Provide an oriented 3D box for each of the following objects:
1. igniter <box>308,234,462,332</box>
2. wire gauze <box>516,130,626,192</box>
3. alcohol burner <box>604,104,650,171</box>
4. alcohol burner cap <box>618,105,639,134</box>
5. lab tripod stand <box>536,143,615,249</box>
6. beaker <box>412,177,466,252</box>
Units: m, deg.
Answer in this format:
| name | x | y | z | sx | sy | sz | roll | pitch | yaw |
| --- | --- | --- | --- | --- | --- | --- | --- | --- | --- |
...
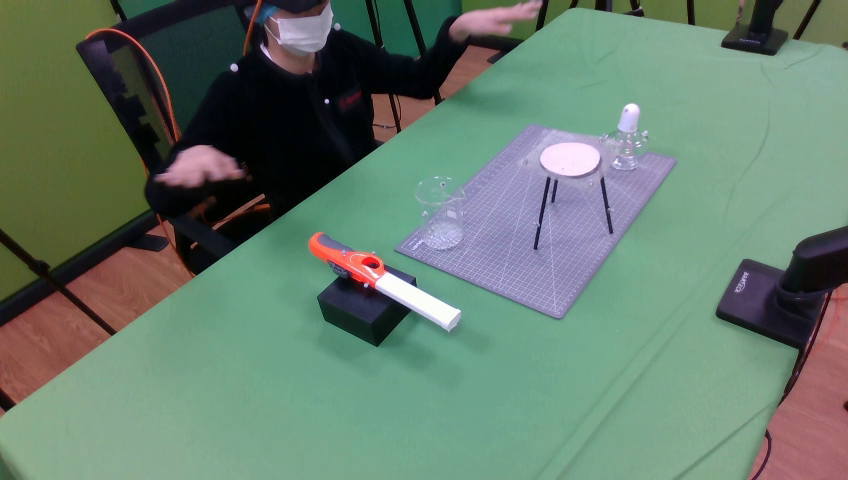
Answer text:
| name | x | y | z | sx | sy | sz | roll | pitch | yaw |
| --- | --- | --- | --- | --- | --- | --- | --- | --- | --- |
| igniter | -0.066 | 0.053 | 0.846 | 0.274 | 0.025 | 0.057 | 26 | 49 | 29 |
| wire gauze | 0.216 | -0.124 | 0.892 | 0.124 | 0.011 | 0.122 | 22 | 49 | 31 |
| alcohol burner | 0.357 | -0.182 | 1.060 | 0.078 | 0.119 | 0.077 | -6 | 39 | 6 |
| alcohol burner cap | 0.353 | -0.208 | 1.036 | 0.034 | 0.048 | 0.033 | -2 | 46 | 3 |
| lab tripod stand | 0.224 | -0.069 | 0.931 | 0.148 | 0.132 | 0.147 | -4 | 42 | 4 |
| beaker | 0.029 | -0.038 | 0.952 | 0.083 | 0.101 | 0.074 | 9 | 43 | 18 |
